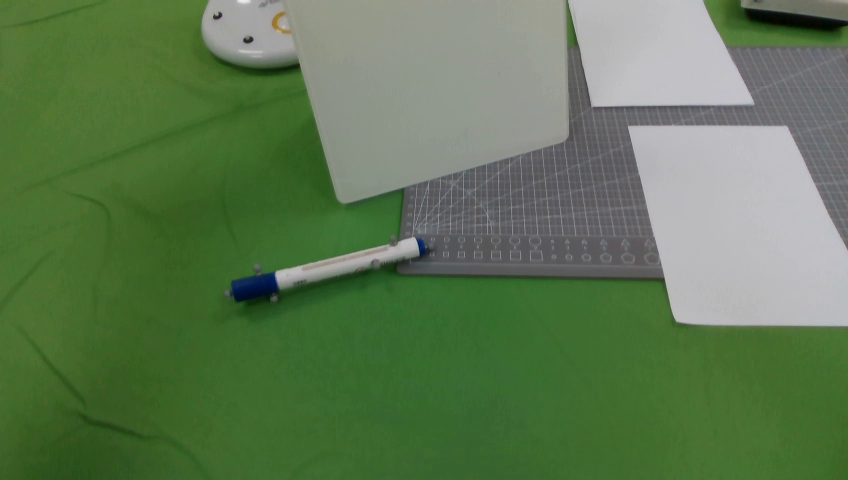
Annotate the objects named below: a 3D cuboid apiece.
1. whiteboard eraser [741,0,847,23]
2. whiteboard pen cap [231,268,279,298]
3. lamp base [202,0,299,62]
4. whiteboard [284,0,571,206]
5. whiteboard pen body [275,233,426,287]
[{"bbox_3d":[0.400,-0.263,0.648,0.112,0.042,0.055,13,55,13],"label":"whiteboard eraser"},{"bbox_3d":[-0.124,0.031,0.447,0.033,0.018,0.018,-13,52,-13],"label":"whiteboard pen cap"},{"bbox_3d":[-0.176,-0.302,0.616,0.177,0.182,0.160,35,61,29],"label":"lamp base"},{"bbox_3d":[-0.012,-0.218,0.499,0.217,0.308,0.142,-17,33,-9],"label":"whiteboard"},{"bbox_3d":[-0.067,0.018,0.457,0.141,0.017,0.017,-14,52,-10],"label":"whiteboard pen body"}]
